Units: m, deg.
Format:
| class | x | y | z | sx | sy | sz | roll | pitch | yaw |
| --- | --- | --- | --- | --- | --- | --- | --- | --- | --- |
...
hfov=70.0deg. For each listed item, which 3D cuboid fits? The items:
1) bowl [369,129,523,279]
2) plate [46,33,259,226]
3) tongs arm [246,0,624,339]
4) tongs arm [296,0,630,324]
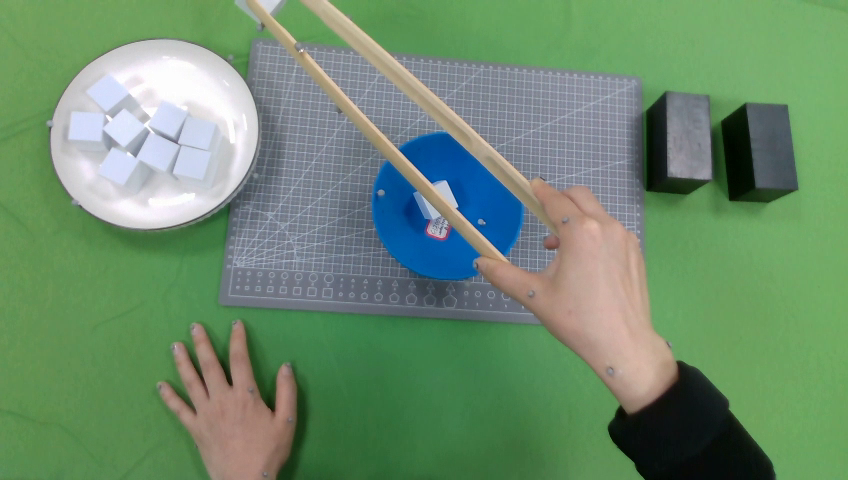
| class | x | y | z | sx | sy | sz | roll | pitch | yaw |
| --- | --- | --- | --- | --- | --- | --- | --- | --- | --- |
| bowl | 0.019 | -0.029 | 0.619 | 0.151 | 0.077 | 0.150 | 1 | 78 | -6 |
| plate | -0.275 | -0.112 | 0.629 | 0.208 | 0.039 | 0.206 | 1 | 78 | -4 |
| tongs arm | -0.002 | -0.068 | 0.463 | 0.051 | 0.026 | 0.383 | -37 | 78 | -21 |
| tongs arm | 0.015 | -0.083 | 0.472 | 0.386 | 0.028 | 0.028 | 45 | 65 | 10 |
